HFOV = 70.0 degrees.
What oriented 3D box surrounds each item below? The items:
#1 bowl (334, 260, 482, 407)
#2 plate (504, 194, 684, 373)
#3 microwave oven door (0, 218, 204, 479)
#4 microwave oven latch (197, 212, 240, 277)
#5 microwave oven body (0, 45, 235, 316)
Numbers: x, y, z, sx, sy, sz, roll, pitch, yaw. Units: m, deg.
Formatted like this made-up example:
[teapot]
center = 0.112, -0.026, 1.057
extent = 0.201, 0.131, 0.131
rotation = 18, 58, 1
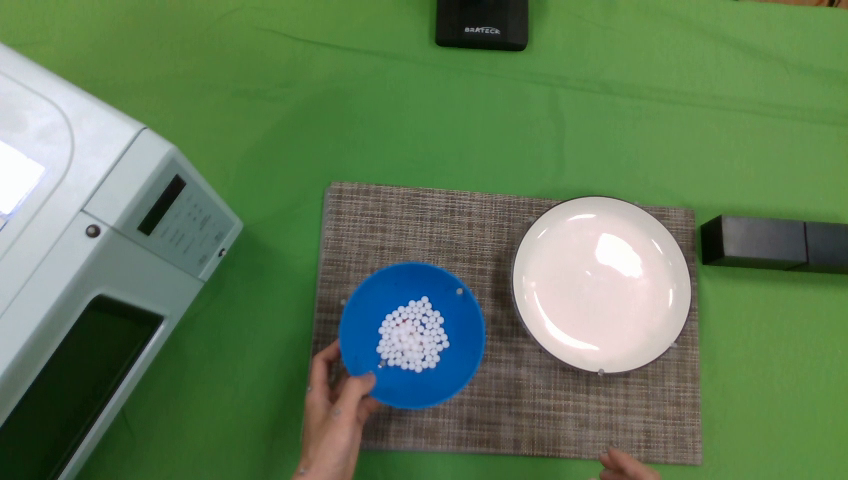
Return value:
[bowl]
center = -0.018, 0.103, 0.647
extent = 0.151, 0.077, 0.150
rotation = 2, 73, -5
[plate]
center = 0.194, 0.051, 0.705
extent = 0.208, 0.039, 0.206
rotation = 1, 77, -4
[microwave oven door]
center = -0.341, 0.159, 0.526
extent = 0.039, 0.244, 0.355
rotation = 29, 77, 5
[microwave oven latch]
center = -0.237, 0.000, 0.674
extent = 0.030, 0.029, 0.079
rotation = 31, 78, 3
[microwave oven body]
center = -0.448, 0.053, 0.548
extent = 0.326, 0.261, 0.440
rotation = 30, 77, 3
